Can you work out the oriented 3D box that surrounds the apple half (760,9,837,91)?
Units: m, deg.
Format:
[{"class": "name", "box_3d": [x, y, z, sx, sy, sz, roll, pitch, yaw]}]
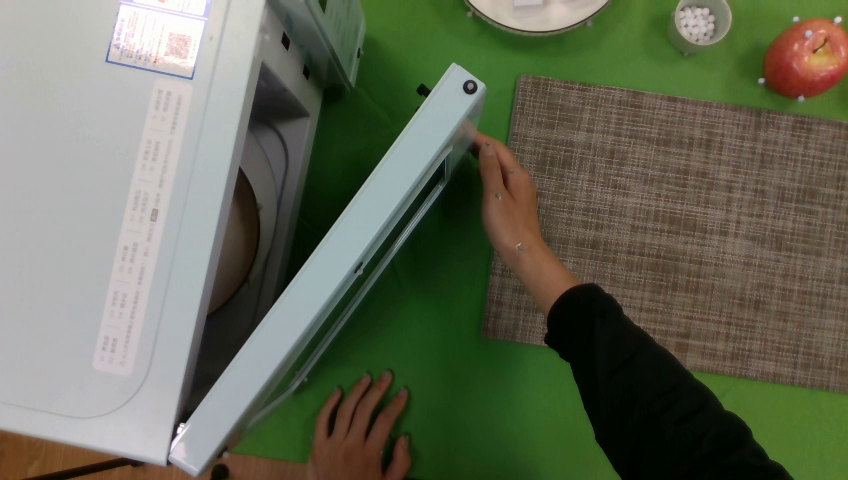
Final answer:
[{"class": "apple half", "box_3d": [0.393, -0.198, 0.651, 0.053, 0.074, 0.081, -17, 92, 6]}]

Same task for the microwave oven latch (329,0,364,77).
[{"class": "microwave oven latch", "box_3d": [-0.086, -0.221, 0.658, 0.030, 0.029, 0.079, 14, 90, 1]}]

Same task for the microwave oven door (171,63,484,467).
[{"class": "microwave oven door", "box_3d": [-0.068, 0.021, 0.553, 0.039, 0.244, 0.355, 36, 90, 3]}]

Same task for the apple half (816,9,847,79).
[{"class": "apple half", "box_3d": [0.431, -0.210, 0.649, 0.033, 0.081, 0.081, -18, 88, 6]}]

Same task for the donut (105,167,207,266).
[{"class": "donut", "box_3d": [-0.265, -0.022, 0.601, 0.099, 0.048, 0.099, 0, 88, 2]}]

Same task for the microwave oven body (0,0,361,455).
[{"class": "microwave oven body", "box_3d": [-0.269, -0.080, 0.563, 0.326, 0.260, 0.441, 12, 90, 1]}]

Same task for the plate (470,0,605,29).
[{"class": "plate", "box_3d": [0.125, -0.335, 0.674, 0.208, 0.039, 0.207, 0, 89, 1]}]

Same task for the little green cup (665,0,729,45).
[{"class": "little green cup", "box_3d": [0.299, -0.247, 0.670, 0.061, 0.038, 0.061, 0, 89, 2]}]

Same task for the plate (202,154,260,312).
[{"class": "plate", "box_3d": [-0.268, -0.019, 0.613, 0.209, 0.038, 0.209, 0, 90, 0]}]
